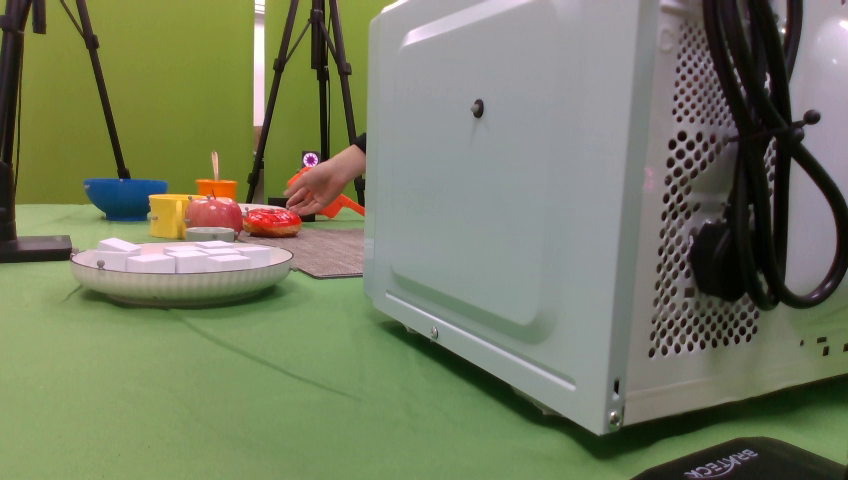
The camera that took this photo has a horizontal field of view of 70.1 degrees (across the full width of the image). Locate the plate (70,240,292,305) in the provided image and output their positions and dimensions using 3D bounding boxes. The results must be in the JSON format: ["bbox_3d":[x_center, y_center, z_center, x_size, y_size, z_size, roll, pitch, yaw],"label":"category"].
[{"bbox_3d":[-0.242,0.031,0.618,0.208,0.039,0.207,2,8,0],"label":"plate"}]

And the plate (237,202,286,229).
[{"bbox_3d":[-0.376,-0.048,1.184,0.209,0.038,0.209,3,8,0],"label":"plate"}]

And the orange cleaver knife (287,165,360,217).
[{"bbox_3d":[-0.211,-0.092,1.382,0.212,0.077,0.012,34,1,-15],"label":"orange cleaver knife"}]

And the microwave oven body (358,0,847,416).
[{"bbox_3d":[0.211,-0.047,0.475,0.444,0.260,0.324,-1,7,-28],"label":"microwave oven body"}]

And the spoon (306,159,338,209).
[{"bbox_3d":[-0.257,-0.147,1.567,0.041,0.022,0.193,2,50,19],"label":"spoon"}]

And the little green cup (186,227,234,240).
[{"bbox_3d":[-0.284,0.005,0.805,0.061,0.038,0.061,2,8,0],"label":"little green cup"}]

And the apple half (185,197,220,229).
[{"bbox_3d":[-0.338,-0.031,0.927,0.032,0.081,0.081,12,12,31],"label":"apple half"}]

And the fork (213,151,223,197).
[{"bbox_3d":[-0.494,-0.143,1.442,0.028,0.018,0.206,-2,52,-20],"label":"fork"}]

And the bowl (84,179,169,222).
[{"bbox_3d":[-0.584,-0.078,1.194,0.151,0.077,0.151,3,8,0],"label":"bowl"}]

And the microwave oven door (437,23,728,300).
[{"bbox_3d":[0.181,-0.072,0.621,0.358,0.243,0.039,-2,8,-29],"label":"microwave oven door"}]

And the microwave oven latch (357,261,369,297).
[{"bbox_3d":[-0.019,0.033,0.531,0.079,0.029,0.030,-1,7,-27],"label":"microwave oven latch"}]

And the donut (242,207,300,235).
[{"bbox_3d":[-0.263,-0.032,1.039,0.099,0.048,0.099,4,9,0],"label":"donut"}]

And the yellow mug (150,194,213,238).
[{"bbox_3d":[-0.401,-0.040,1.003,0.100,0.064,0.130,-1,9,-20],"label":"yellow mug"}]

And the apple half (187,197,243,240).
[{"bbox_3d":[-0.305,-0.026,0.907,0.053,0.074,0.081,12,8,31],"label":"apple half"}]
